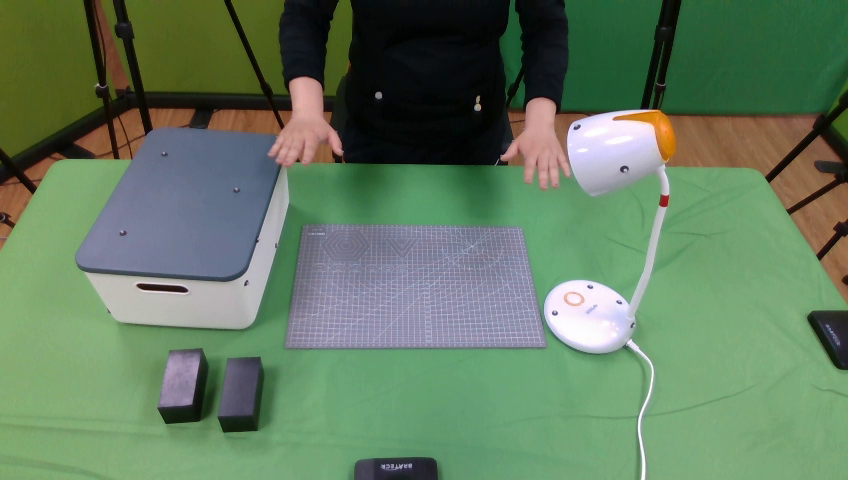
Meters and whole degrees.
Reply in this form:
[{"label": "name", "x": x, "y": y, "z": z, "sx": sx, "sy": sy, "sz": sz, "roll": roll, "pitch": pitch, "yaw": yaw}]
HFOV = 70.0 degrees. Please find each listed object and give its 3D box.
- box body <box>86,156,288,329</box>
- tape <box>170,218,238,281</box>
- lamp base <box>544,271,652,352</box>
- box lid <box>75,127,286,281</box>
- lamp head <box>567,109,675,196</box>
[{"label": "box body", "x": -0.401, "y": -0.025, "z": 1.094, "sx": 0.254, "sy": 0.161, "sz": 0.362, "roll": 3, "pitch": 46, "yaw": -1}, {"label": "tape", "x": -0.406, "y": 0.017, "z": 1.121, "sx": 0.117, "sy": 0.053, "sz": 0.116, "roll": 2, "pitch": 46, "yaw": -2}, {"label": "lamp base", "x": 0.309, "y": 0.086, "z": 1.029, "sx": 0.178, "sy": 0.181, "sz": 0.160, "roll": 32, "pitch": 52, "yaw": 21}, {"label": "box lid", "x": -0.398, "y": -0.075, "z": 1.039, "sx": 0.263, "sy": 0.015, "sz": 0.369, "roll": 4, "pitch": 45, "yaw": -1}, {"label": "lamp head", "x": 0.272, "y": -0.123, "z": 0.818, "sx": 0.122, "sy": 0.113, "sz": 0.112, "roll": -9, "pitch": 35, "yaw": 37}]
